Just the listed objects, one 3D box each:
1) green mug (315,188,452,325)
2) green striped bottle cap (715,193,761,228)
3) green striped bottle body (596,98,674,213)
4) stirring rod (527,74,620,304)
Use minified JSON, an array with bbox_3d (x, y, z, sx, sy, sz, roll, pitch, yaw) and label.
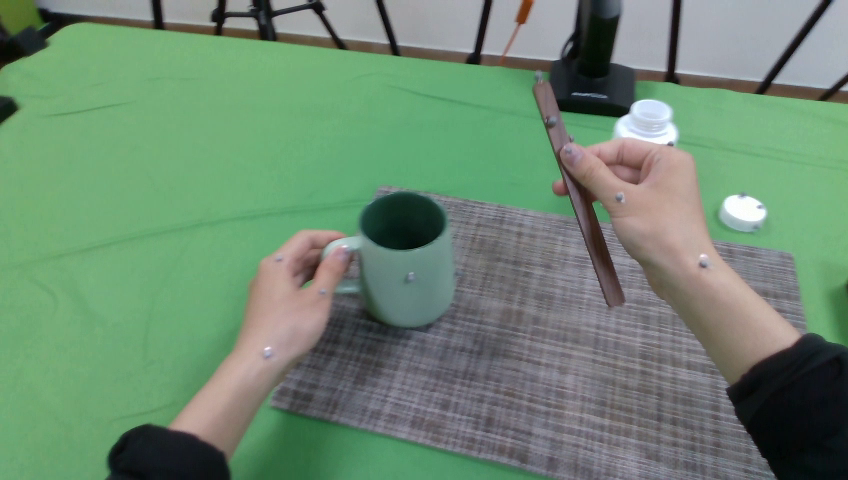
[{"bbox_3d":[-0.037,0.020,0.553,0.125,0.106,0.091,-10,46,-8],"label":"green mug"},{"bbox_3d":[0.345,-0.032,0.666,0.044,0.020,0.044,0,42,0],"label":"green striped bottle cap"},{"bbox_3d":[0.228,-0.092,0.653,0.063,0.120,0.062,0,45,1],"label":"green striped bottle body"},{"bbox_3d":[0.109,-0.037,0.443,0.014,0.006,0.176,-19,89,-12],"label":"stirring rod"}]
